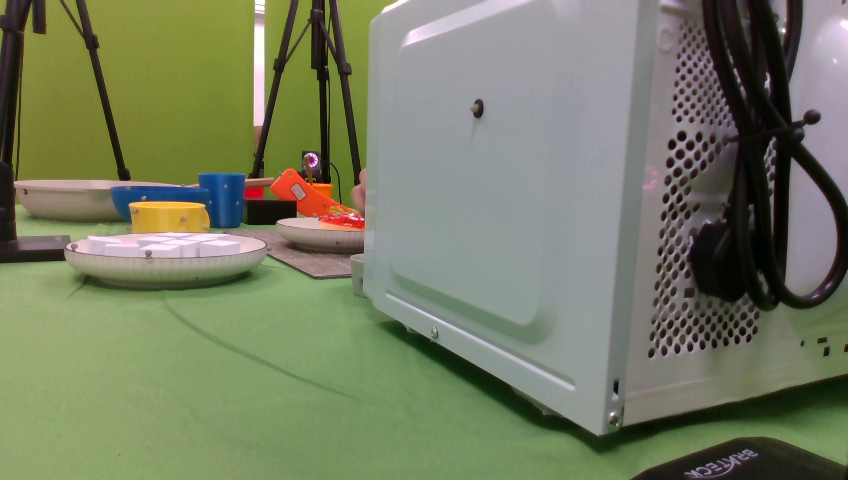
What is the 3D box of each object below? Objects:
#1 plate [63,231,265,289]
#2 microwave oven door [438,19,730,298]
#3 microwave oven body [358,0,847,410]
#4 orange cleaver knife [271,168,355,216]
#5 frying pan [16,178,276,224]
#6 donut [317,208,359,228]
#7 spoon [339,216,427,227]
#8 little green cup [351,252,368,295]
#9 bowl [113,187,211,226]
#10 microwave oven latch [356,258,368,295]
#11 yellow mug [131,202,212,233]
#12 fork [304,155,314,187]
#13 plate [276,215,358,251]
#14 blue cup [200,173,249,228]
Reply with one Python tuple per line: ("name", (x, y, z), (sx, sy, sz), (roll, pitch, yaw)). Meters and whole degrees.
("plate", (-0.288, 0.021, 0.687), (0.208, 0.039, 0.207), (2, 8, 0))
("microwave oven door", (0.181, -0.076, 0.618), (0.358, 0.243, 0.039), (-2, 8, -28))
("microwave oven body", (0.210, -0.051, 0.471), (0.444, 0.260, 0.324), (-1, 7, -28))
("orange cleaver knife", (-0.236, -0.084, 1.333), (0.212, 0.077, 0.012), (31, -10, -32))
("frying pan", (-0.554, -0.096, 1.266), (0.490, 0.102, 0.305), (-10, 13, -24))
("donut", (-0.118, -0.024, 0.954), (0.099, 0.048, 0.099), (6, 7, 0))
("spoon", (-0.087, -0.041, 1.268), (0.193, 0.021, 0.041), (4, 24, 13))
("little green cup", (-0.047, 0.035, 0.632), (0.061, 0.038, 0.061), (4, 6, 0))
("bowl", (-0.436, -0.046, 1.013), (0.151, 0.077, 0.151), (2, 7, 0))
("microwave oven latch", (-0.019, 0.031, 0.529), (0.079, 0.029, 0.030), (-1, 7, -26))
("yellow mug", (-0.356, -0.020, 0.878), (0.099, 0.064, 0.131), (5, 7, 21))
("fork", (-0.268, -0.134, 1.447), (0.028, 0.018, 0.207), (2, -36, -1))
("plate", (-0.126, -0.012, 0.950), (0.209, 0.038, 0.209), (2, 7, 0))
("blue cup", (-0.380, -0.076, 1.155), (0.093, 0.100, 0.092), (0, 8, 0))
